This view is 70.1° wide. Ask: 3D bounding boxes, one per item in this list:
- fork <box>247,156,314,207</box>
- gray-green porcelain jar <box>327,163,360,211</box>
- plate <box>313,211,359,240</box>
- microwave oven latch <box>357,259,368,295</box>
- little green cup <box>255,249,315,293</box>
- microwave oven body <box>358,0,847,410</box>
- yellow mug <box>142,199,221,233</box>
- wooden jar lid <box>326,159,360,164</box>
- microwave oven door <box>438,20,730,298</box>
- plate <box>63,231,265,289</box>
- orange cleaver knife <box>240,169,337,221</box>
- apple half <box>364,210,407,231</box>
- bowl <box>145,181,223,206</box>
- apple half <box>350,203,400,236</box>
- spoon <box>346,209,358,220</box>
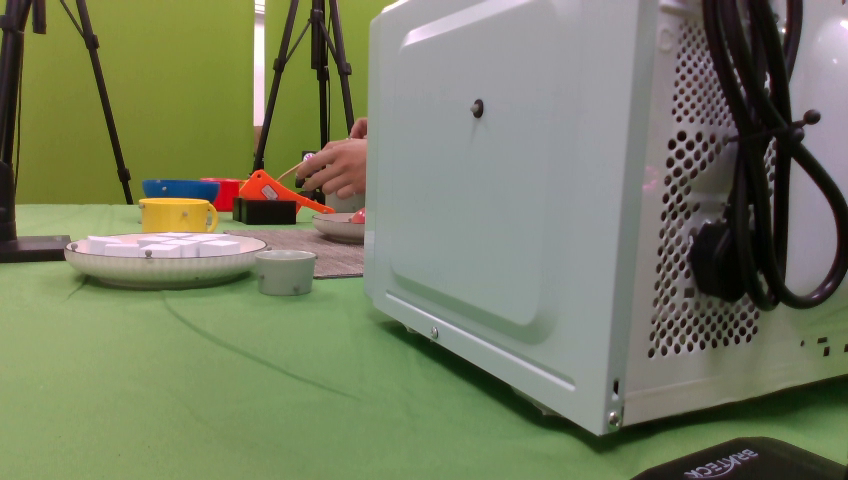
[{"bbox_3d":[-0.360,-0.147,1.522,0.207,0.018,0.028,-43,13,-7],"label":"fork"},{"bbox_3d":[-0.187,-0.125,1.490,0.106,0.126,0.106,2,8,0],"label":"gray-green porcelain jar"},{"bbox_3d":[-0.090,-0.026,1.063,0.209,0.038,0.209,2,7,0],"label":"plate"},{"bbox_3d":[-0.019,0.031,0.529,0.079,0.029,0.030,-1,7,-26],"label":"microwave oven latch"},{"bbox_3d":[-0.144,0.031,0.627,0.061,0.038,0.061,2,6,0],"label":"little green cup"},{"bbox_3d":[0.210,-0.051,0.471,0.444,0.260,0.324,-1,7,-28],"label":"microwave oven body"},{"bbox_3d":[-0.373,-0.030,0.948,0.099,0.064,0.131,6,8,30],"label":"yellow mug"},{"bbox_3d":[-0.185,-0.187,1.481,0.108,0.020,0.108,4,6,0],"label":"wooden jar lid"},{"bbox_3d":[0.181,-0.076,0.618,0.358,0.243,0.039,-2,8,-28],"label":"microwave oven door"},{"bbox_3d":[-0.288,0.021,0.687,0.208,0.039,0.207,2,8,0],"label":"plate"},{"bbox_3d":[-0.287,-0.082,1.298,0.212,0.077,0.012,25,-2,-31],"label":"orange cleaver knife"},{"bbox_3d":[-0.068,-0.037,1.103,0.081,0.033,0.081,0,9,0],"label":"apple half"},{"bbox_3d":[-0.499,-0.081,1.261,0.151,0.077,0.151,2,7,0],"label":"bowl"},{"bbox_3d":[-0.082,-0.036,1.024,0.081,0.053,0.074,-4,12,-34],"label":"apple half"},{"bbox_3d":[-0.123,-0.047,1.116,0.041,0.021,0.194,-6,17,18],"label":"spoon"}]
